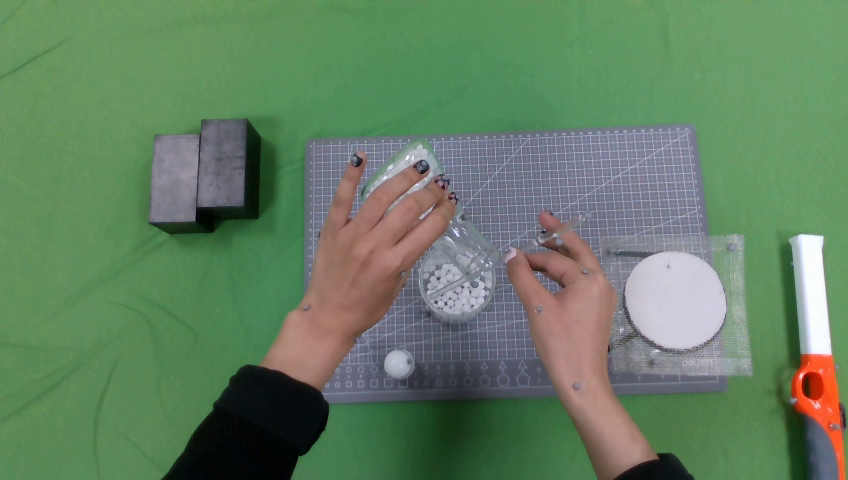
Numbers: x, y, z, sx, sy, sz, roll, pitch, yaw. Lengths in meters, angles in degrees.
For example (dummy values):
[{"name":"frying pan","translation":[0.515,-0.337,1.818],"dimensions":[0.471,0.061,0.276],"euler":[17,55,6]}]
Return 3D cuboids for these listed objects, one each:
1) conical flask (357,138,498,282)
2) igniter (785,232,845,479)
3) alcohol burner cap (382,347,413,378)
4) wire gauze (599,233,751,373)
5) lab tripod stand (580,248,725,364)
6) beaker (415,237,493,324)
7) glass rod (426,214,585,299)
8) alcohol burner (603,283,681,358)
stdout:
[{"name":"conical flask","translation":[0.009,-0.021,0.510],"dimensions":[0.075,0.075,0.122],"euler":[-45,94,-8]},{"name":"igniter","translation":[0.407,0.128,0.633],"dimensions":[0.057,0.025,0.275],"euler":[4,78,-9]},{"name":"alcohol burner cap","translation":[-0.029,0.128,0.632],"dimensions":[0.034,0.048,0.033],"euler":[0,79,1]},{"name":"wire gauze","translation":[0.218,0.053,0.527],"dimensions":[0.125,0.011,0.121],"euler":[0,79,2]},{"name":"lab tripod stand","translation":[0.219,0.069,0.592],"dimensions":[0.148,0.132,0.148],"euler":[0,80,2]},{"name":"beaker","translation":[0.031,0.045,0.619],"dimensions":[0.074,0.100,0.083],"euler":[21,78,6]},{"name":"glass rod","translation":[0.062,0.019,0.526],"dimensions":[0.008,0.199,0.008],"euler":[18,58,-31]},{"name":"alcohol burner","translation":[0.221,0.078,0.601],"dimensions":[0.078,0.119,0.077],"euler":[-1,78,4]}]
